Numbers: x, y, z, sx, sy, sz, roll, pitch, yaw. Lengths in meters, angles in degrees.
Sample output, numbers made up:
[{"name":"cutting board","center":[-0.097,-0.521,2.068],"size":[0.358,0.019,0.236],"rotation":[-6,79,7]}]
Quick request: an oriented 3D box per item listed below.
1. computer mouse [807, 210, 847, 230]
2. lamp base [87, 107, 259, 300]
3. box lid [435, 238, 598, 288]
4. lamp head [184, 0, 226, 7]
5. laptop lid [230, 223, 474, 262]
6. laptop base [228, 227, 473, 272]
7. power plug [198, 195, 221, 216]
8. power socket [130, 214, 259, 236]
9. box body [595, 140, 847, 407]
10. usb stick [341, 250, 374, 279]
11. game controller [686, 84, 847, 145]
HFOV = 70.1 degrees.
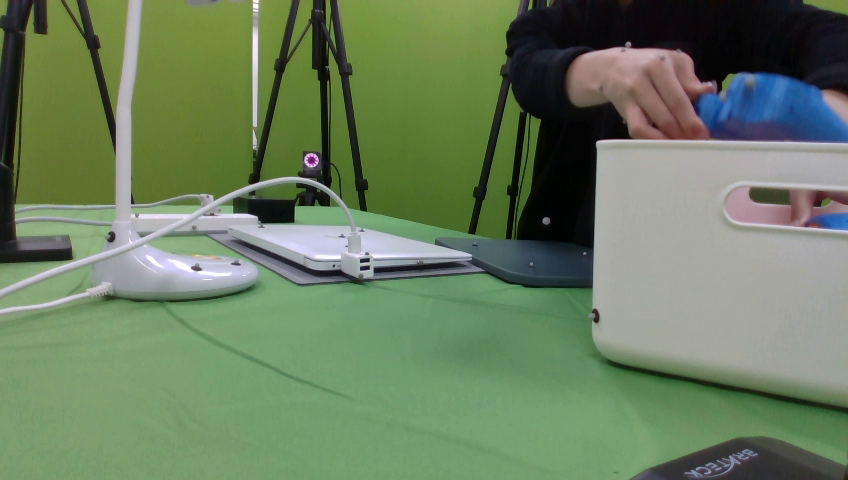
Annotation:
[{"name":"computer mouse","center":[0.341,0.001,0.467],"size":[0.062,0.041,0.117],"rotation":[7,14,19]},{"name":"lamp base","center":[-0.254,-0.039,0.603],"size":[0.160,0.180,0.179],"rotation":[5,10,18]},{"name":"box lid","center":[0.185,0.029,0.896],"size":[0.264,0.015,0.370],"rotation":[1,7,-16]},{"name":"lamp head","center":[-0.229,-0.320,0.627],"size":[0.112,0.112,0.123],"rotation":[6,-35,26]},{"name":"laptop lid","center":[-0.121,0.000,0.888],"size":[0.243,0.013,0.355],"rotation":[1,7,-33]},{"name":"laptop base","center":[-0.123,0.012,0.889],"size":[0.237,0.023,0.352],"rotation":[2,6,-35]},{"name":"power plug","center":[-0.386,-0.055,1.088],"size":[0.035,0.052,0.072],"rotation":[-1,6,-24]},{"name":"power socket","center":[-0.397,-0.028,1.048],"size":[0.228,0.032,0.072],"rotation":[-3,7,-35]},{"name":"box body","center":[0.309,0.006,0.509],"size":[0.253,0.160,0.366],"rotation":[6,8,29]},{"name":"usb stick","center":[-0.078,0.026,0.686],"size":[0.021,0.027,0.059],"rotation":[-7,8,-30]},{"name":"game controller","center":[0.266,-0.086,0.465],"size":[0.097,0.051,0.155],"rotation":[24,9,7]}]
